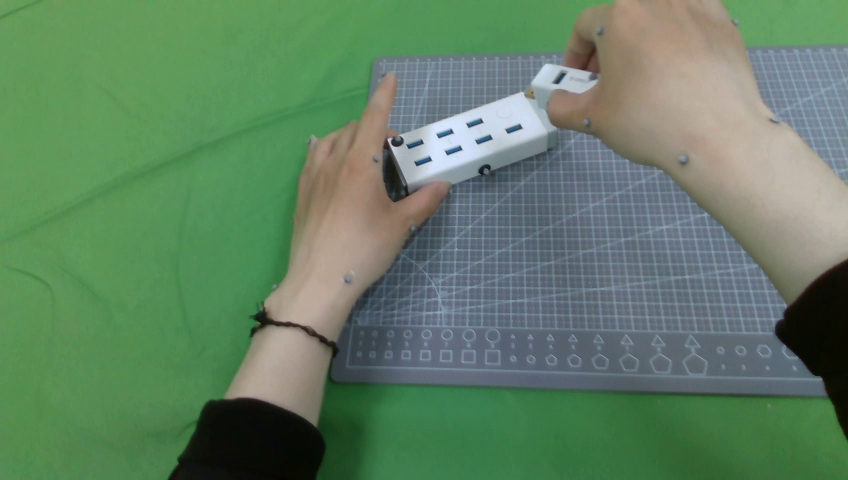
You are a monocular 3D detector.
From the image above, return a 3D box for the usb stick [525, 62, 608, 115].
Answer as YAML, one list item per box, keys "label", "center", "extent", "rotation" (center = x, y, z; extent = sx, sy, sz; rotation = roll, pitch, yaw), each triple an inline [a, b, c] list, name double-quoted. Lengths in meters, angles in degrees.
- label: "usb stick"
  center: [0.092, -0.104, 0.411]
  extent: [0.058, 0.027, 0.021]
  rotation: [22, 69, 44]

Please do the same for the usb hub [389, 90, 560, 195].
- label: "usb hub"
  center: [0.039, -0.079, 0.475]
  extent: [0.125, 0.025, 0.049]
  rotation: [-19, 59, -6]
